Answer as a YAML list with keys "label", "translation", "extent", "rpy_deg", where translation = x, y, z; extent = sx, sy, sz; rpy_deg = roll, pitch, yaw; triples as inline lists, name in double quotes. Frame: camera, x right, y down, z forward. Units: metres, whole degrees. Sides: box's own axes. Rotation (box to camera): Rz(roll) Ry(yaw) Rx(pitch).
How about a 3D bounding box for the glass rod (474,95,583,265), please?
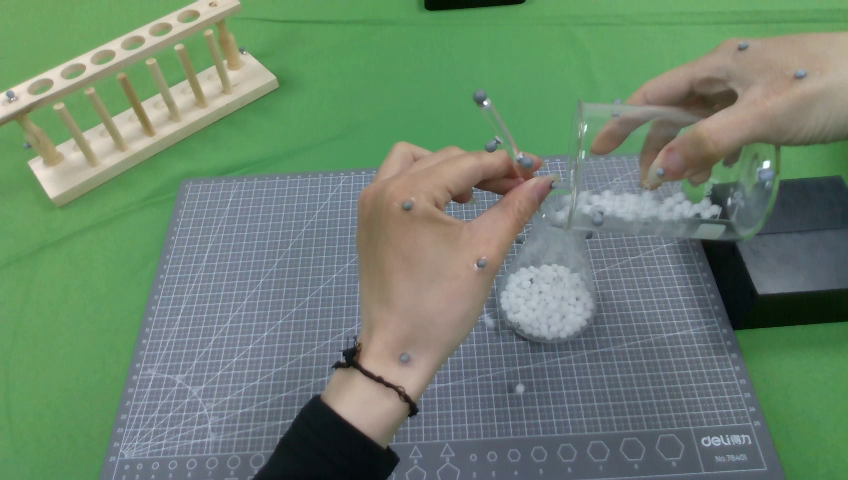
- label: "glass rod"
  translation: [0.067, -0.024, 0.353]
  extent: [0.008, 0.202, 0.008]
  rpy_deg: [-12, 62, 23]

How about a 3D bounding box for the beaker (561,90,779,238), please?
- label: "beaker"
  translation: [0.130, -0.038, 0.335]
  extent: [0.100, 0.085, 0.073]
  rpy_deg: [5, 57, 8]

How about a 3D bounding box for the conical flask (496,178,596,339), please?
- label: "conical flask"
  translation: [0.089, 0.011, 0.420]
  extent: [0.075, 0.123, 0.074]
  rpy_deg: [-2, 54, 3]

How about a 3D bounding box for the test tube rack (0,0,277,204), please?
- label: "test tube rack"
  translation: [-0.271, -0.143, 0.583]
  extent: [0.242, 0.086, 0.066]
  rpy_deg: [-36, 59, -20]
